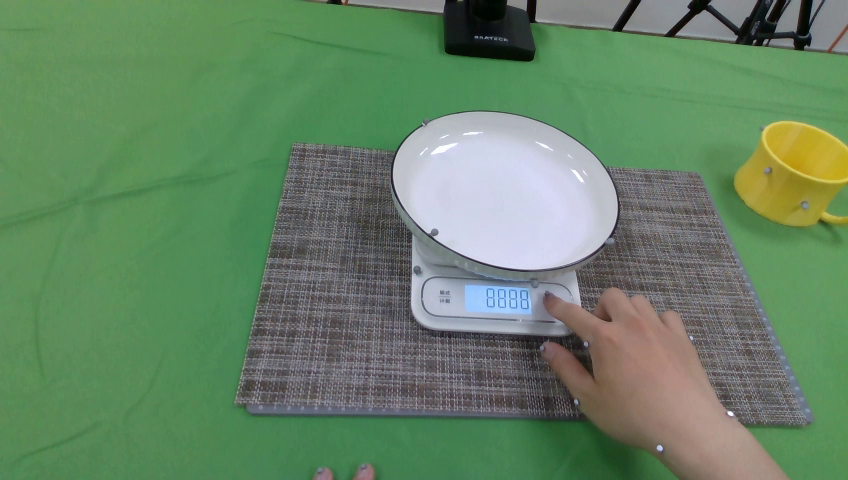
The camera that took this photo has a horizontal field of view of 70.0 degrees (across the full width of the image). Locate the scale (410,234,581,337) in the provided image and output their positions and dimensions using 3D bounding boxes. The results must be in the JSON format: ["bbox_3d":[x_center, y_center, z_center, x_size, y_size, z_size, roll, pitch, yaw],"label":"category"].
[{"bbox_3d":[0.063,-0.003,0.563,0.149,0.032,0.199,4,49,-4],"label":"scale"}]

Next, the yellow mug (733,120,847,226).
[{"bbox_3d":[0.409,-0.064,0.648,0.100,0.064,0.130,-34,62,-31],"label":"yellow mug"}]

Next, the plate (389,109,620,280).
[{"bbox_3d":[0.071,-0.043,0.554,0.209,0.038,0.207,4,49,-5],"label":"plate"}]
